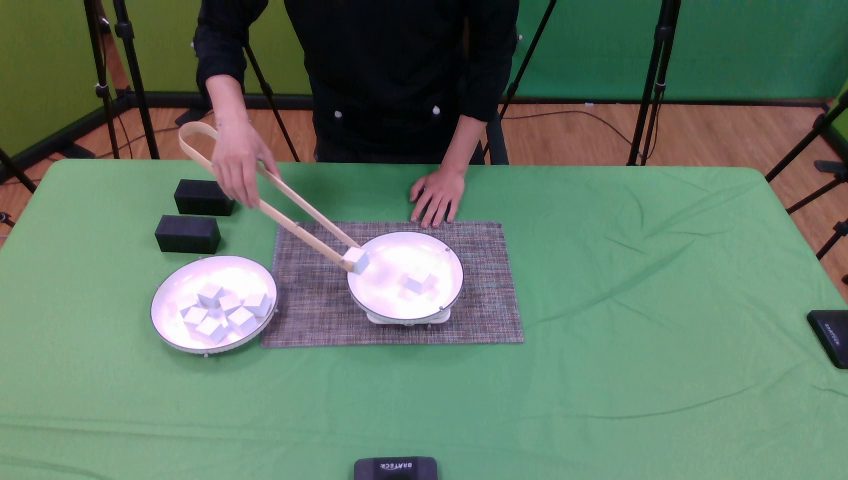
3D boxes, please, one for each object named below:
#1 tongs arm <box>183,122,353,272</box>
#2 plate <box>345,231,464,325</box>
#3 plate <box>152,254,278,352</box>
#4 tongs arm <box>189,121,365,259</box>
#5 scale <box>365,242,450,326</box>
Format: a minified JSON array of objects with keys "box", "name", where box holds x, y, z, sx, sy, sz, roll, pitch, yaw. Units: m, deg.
[{"box":[-0.266,-0.075,1.029,0.384,0.026,0.050,34,58,5],"name":"tongs arm"},{"box":[-0.034,0.069,1.069,0.209,0.038,0.208,2,46,-2],"name":"plate"},{"box":[-0.357,0.111,1.052,0.208,0.039,0.206,2,46,-2],"name":"plate"},{"box":[-0.252,-0.089,1.042,0.387,0.028,0.028,38,62,8],"name":"tongs arm"},{"box":[-0.032,0.071,1.113,0.149,0.032,0.199,0,46,-4],"name":"scale"}]
